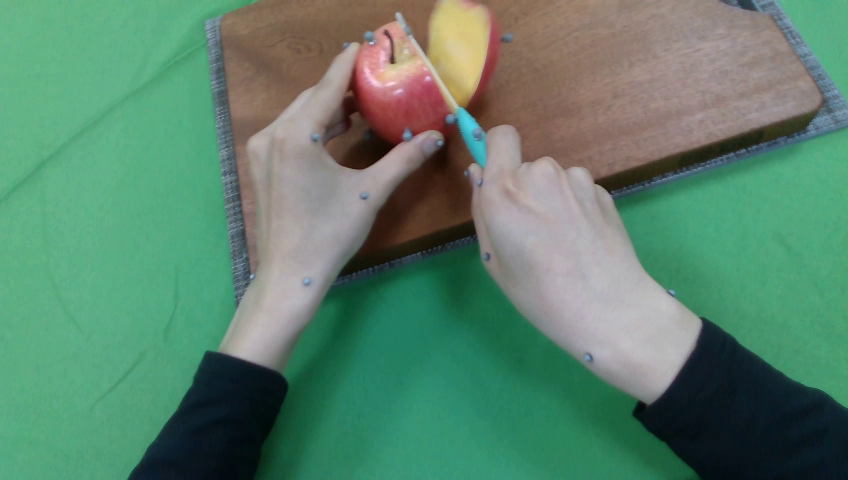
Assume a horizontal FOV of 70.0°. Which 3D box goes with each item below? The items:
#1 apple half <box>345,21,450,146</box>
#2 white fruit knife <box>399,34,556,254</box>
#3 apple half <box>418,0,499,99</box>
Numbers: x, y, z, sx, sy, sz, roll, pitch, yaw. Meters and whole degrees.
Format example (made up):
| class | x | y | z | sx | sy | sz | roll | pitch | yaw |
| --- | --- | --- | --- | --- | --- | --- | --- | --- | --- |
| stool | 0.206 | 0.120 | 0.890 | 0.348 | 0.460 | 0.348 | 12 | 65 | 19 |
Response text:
| class | x | y | z | sx | sy | sz | roll | pitch | yaw |
| --- | --- | --- | --- | --- | --- | --- | --- | --- | --- |
| apple half | -0.023 | -0.098 | 0.412 | 0.053 | 0.075 | 0.080 | -33 | 68 | 2 |
| white fruit knife | 0.024 | -0.076 | 0.395 | 0.016 | 0.027 | 0.205 | -32 | 65 | -2 |
| apple half | 0.028 | -0.135 | 0.429 | 0.081 | 0.033 | 0.081 | -14 | 72 | 52 |
